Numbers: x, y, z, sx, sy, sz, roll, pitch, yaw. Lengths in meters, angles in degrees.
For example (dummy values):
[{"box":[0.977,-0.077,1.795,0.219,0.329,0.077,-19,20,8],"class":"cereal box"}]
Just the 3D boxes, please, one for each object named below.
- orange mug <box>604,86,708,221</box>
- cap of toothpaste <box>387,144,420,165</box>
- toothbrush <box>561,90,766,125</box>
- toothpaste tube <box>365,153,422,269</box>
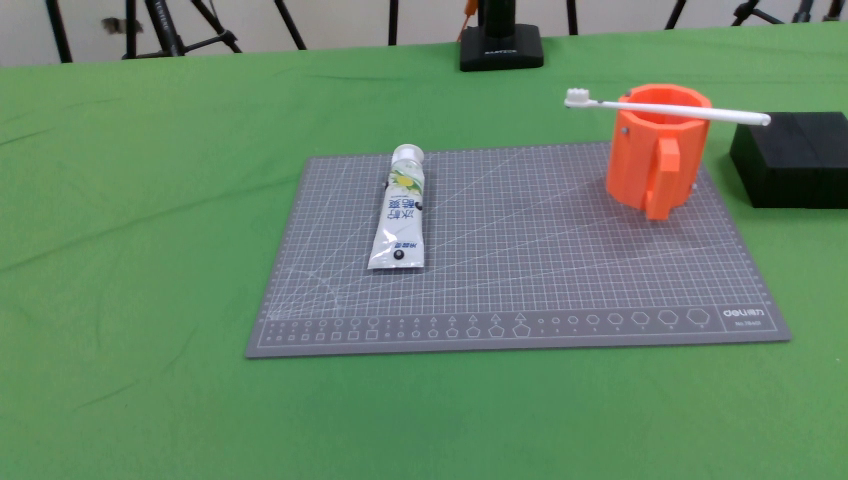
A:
[{"box":[0.227,-0.081,0.596,0.083,0.102,0.125,3,39,10],"class":"orange mug"},{"box":[-0.023,-0.091,0.677,0.037,0.038,0.011,0,49,6],"class":"cap of toothpaste"},{"box":[0.219,-0.123,0.564,0.181,0.017,0.014,10,36,18],"class":"toothbrush"},{"box":[-0.028,-0.034,0.626,0.055,0.035,0.163,-5,47,7],"class":"toothpaste tube"}]
